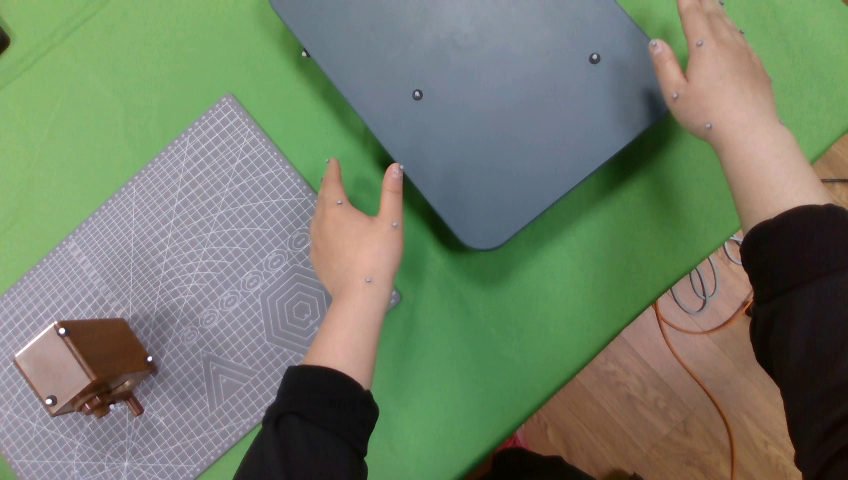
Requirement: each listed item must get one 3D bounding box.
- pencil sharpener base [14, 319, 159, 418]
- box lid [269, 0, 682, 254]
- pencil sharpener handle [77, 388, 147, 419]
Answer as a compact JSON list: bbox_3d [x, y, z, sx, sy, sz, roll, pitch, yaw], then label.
[{"bbox_3d":[-0.331,0.126,0.606,0.061,0.107,0.076,-40,82,1],"label":"pencil sharpener base"},{"bbox_3d":[0.040,-0.198,0.599,0.263,0.015,0.370,-39,82,2],"label":"box lid"},{"bbox_3d":[-0.299,0.163,0.587,0.036,0.068,0.030,-41,82,7],"label":"pencil sharpener handle"}]
